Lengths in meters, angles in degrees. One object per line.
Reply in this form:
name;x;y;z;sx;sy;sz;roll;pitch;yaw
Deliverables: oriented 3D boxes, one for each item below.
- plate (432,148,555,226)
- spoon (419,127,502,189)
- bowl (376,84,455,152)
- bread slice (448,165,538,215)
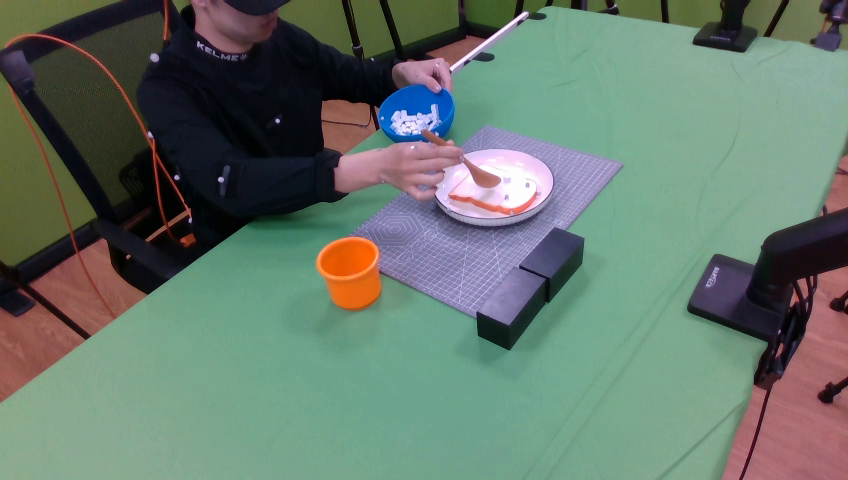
plate;0.119;-0.087;1.037;0.209;0.038;0.208;-4;40;4
spoon;0.058;-0.127;0.954;0.041;0.195;0.021;-21;50;37
bowl;-0.009;-0.224;1.169;0.151;0.077;0.150;-7;51;9
bread slice;0.126;-0.085;1.038;0.133;0.018;0.107;16;45;27
